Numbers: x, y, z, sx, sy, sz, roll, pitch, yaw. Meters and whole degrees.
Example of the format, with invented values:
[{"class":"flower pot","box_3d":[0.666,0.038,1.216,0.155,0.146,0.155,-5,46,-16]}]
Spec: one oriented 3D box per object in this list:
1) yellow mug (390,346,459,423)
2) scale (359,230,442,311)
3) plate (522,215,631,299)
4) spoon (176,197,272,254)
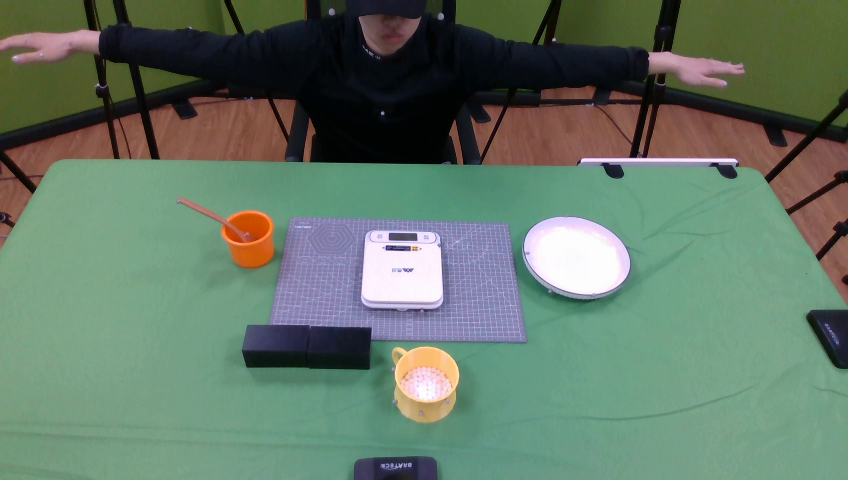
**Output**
[{"class":"yellow mug","box_3d":[-0.009,0.217,0.958,0.100,0.064,0.130,-33,56,-31]},{"class":"scale","box_3d":[-0.043,0.048,1.138,0.149,0.032,0.199,2,46,-3]},{"class":"plate","box_3d":[0.292,0.035,1.175,0.209,0.038,0.208,2,46,-2]},{"class":"spoon","box_3d":[-0.362,-0.028,1.108,0.021,0.195,0.041,-35,36,24]}]
